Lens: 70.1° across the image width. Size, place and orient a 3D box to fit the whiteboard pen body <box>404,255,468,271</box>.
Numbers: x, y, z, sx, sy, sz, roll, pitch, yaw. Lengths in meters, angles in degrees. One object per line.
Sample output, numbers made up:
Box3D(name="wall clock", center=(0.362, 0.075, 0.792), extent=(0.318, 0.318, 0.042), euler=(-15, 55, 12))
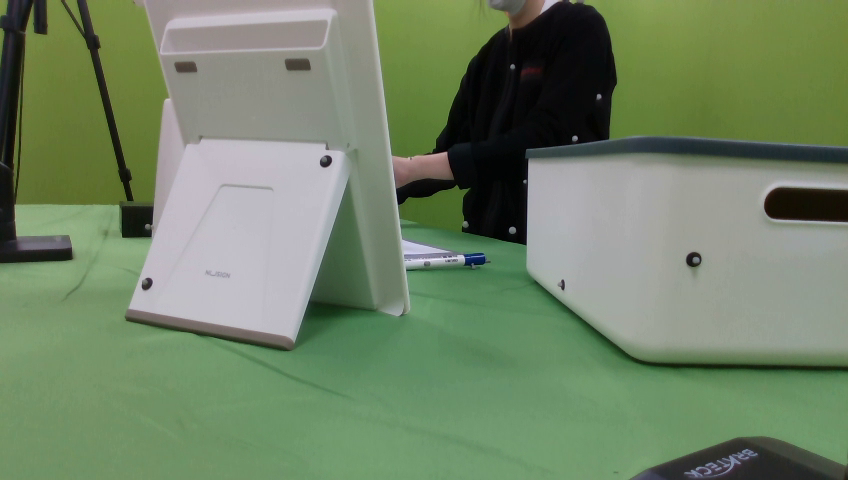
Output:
Box3D(name="whiteboard pen body", center=(0.012, 0.030, 0.792), extent=(0.141, 0.017, 0.017), euler=(-3, 9, -24))

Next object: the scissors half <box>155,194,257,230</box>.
Box3D(name="scissors half", center=(-0.378, -0.051, 1.058), extent=(0.176, 0.040, 0.012), euler=(20, 22, -31))

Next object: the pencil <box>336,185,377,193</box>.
Box3D(name="pencil", center=(-0.120, -0.086, 1.037), extent=(0.012, 0.012, 0.193), euler=(-1, 4, -26))

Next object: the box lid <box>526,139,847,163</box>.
Box3D(name="box lid", center=(0.261, -0.078, 0.580), extent=(0.264, 0.015, 0.371), euler=(2, 7, -4))

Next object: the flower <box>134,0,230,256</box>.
Box3D(name="flower", center=(-0.282, -0.147, 0.713), extent=(0.038, 0.362, 0.044), euler=(-23, 24, -31))

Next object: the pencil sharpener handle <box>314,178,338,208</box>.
Box3D(name="pencil sharpener handle", center=(-0.194, -0.092, 1.185), extent=(0.036, 0.068, 0.030), euler=(-42, 27, -21))

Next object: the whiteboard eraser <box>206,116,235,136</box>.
Box3D(name="whiteboard eraser", center=(-0.450, -0.252, 1.335), extent=(0.056, 0.042, 0.112), euler=(1, 7, -22))

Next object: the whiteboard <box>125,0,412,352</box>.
Box3D(name="whiteboard", center=(-0.151, -0.049, 0.472), extent=(0.216, 0.305, 0.144), euler=(6, 27, 24))

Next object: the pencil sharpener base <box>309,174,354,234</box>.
Box3D(name="pencil sharpener base", center=(-0.176, -0.070, 1.139), extent=(0.062, 0.107, 0.076), euler=(-3, 9, -32))

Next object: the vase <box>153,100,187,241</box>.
Box3D(name="vase", center=(-0.278, -0.066, 0.736), extent=(0.098, 0.200, 0.098), euler=(2, 9, 0))

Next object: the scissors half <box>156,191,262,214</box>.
Box3D(name="scissors half", center=(-0.371, -0.069, 1.051), extent=(0.176, 0.040, 0.013), euler=(2, 25, -24))

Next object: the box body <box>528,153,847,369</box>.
Box3D(name="box body", center=(0.258, -0.005, 0.591), extent=(0.254, 0.160, 0.363), euler=(2, 7, -4))

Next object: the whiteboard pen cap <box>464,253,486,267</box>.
Box3D(name="whiteboard pen cap", center=(0.066, 0.027, 0.818), extent=(0.033, 0.018, 0.018), euler=(-6, 10, -24))
